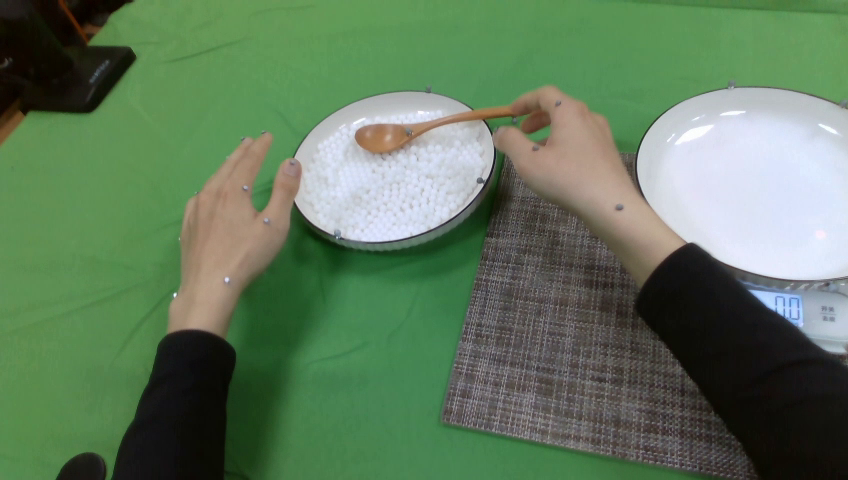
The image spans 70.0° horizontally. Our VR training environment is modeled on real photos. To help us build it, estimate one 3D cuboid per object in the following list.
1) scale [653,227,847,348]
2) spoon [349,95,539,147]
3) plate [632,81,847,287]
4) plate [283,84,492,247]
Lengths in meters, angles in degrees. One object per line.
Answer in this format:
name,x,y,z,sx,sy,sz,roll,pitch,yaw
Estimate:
scale,0.272,-0.011,0.505,0.148,0.032,0.199,6,56,14
spoon,0.019,-0.124,0.612,0.193,0.022,0.041,-10,54,11
plate,0.275,-0.047,0.490,0.207,0.039,0.205,-4,54,6
plate,-0.035,-0.074,0.606,0.209,0.038,0.207,-5,54,7
